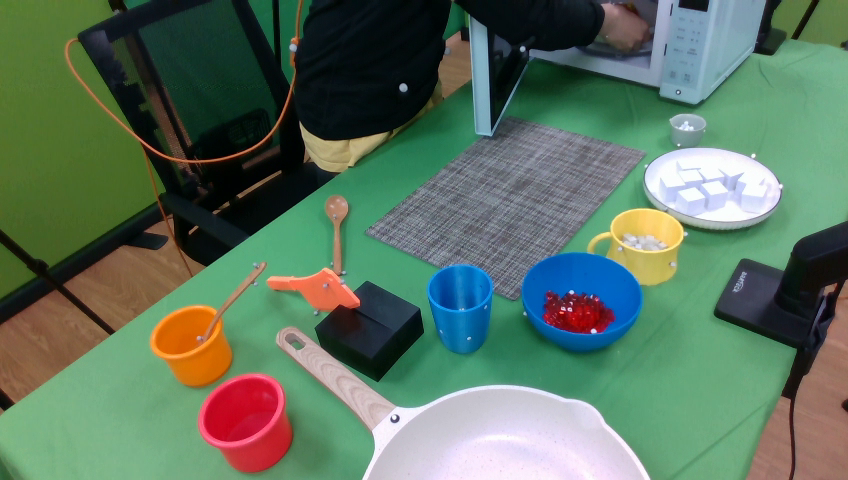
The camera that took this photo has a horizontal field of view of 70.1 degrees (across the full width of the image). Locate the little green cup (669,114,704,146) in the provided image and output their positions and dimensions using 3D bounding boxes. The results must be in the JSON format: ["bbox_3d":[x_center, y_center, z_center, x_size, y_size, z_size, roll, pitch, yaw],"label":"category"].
[{"bbox_3d":[0.485,-0.203,1.123,0.061,0.039,0.061,-5,40,5],"label":"little green cup"}]

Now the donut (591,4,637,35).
[{"bbox_3d":[0.423,-0.492,1.347,0.099,0.048,0.098,-6,41,6],"label":"donut"}]

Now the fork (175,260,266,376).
[{"bbox_3d":[-0.268,0.103,0.792,0.207,0.019,0.028,-51,41,16],"label":"fork"}]

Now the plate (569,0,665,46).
[{"bbox_3d":[0.432,-0.488,1.367,0.209,0.038,0.208,-4,42,4],"label":"plate"}]

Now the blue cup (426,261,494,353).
[{"bbox_3d":[0.049,0.095,0.792,0.092,0.100,0.092,-3,42,3],"label":"blue cup"}]

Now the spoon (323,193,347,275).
[{"bbox_3d":[-0.148,-0.014,1.008,0.042,0.021,0.192,4,39,-12],"label":"spoon"}]

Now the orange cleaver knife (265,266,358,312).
[{"bbox_3d":[-0.164,0.073,0.864,0.210,0.077,0.012,-6,31,50],"label":"orange cleaver knife"}]

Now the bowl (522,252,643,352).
[{"bbox_3d":[0.204,0.093,0.792,0.151,0.077,0.150,-4,40,4],"label":"bowl"}]

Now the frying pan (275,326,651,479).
[{"bbox_3d":[0.004,0.229,0.641,0.484,0.103,0.308,34,54,28],"label":"frying pan"}]

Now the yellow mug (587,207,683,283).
[{"bbox_3d":[0.305,0.009,0.885,0.131,0.064,0.099,-4,41,5],"label":"yellow mug"}]

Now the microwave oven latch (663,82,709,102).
[{"bbox_3d":[0.519,-0.298,1.202,0.078,0.029,0.030,30,53,36],"label":"microwave oven latch"}]

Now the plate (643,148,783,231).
[{"bbox_3d":[0.465,-0.080,0.986,0.207,0.039,0.206,-4,41,4],"label":"plate"}]

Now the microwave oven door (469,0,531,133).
[{"bbox_3d":[0.163,-0.415,1.231,0.039,0.245,0.355,9,44,19],"label":"microwave oven door"}]

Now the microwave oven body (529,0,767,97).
[{"bbox_3d":[0.473,-0.516,1.313,0.438,0.261,0.327,26,51,34],"label":"microwave oven body"}]
